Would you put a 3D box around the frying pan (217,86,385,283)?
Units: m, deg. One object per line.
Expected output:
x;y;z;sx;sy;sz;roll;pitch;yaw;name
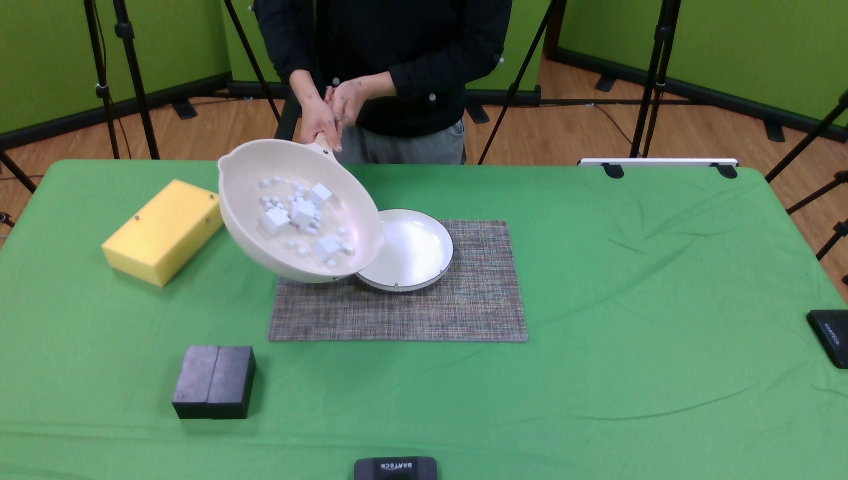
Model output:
-0.201;-0.123;1.096;0.308;0.103;0.485;28;47;-21;frying pan

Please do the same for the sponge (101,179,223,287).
-0.486;-0.019;1.151;0.118;0.061;0.206;19;47;12;sponge

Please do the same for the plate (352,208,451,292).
-0.053;0.022;1.156;0.208;0.039;0.206;2;46;-2;plate
